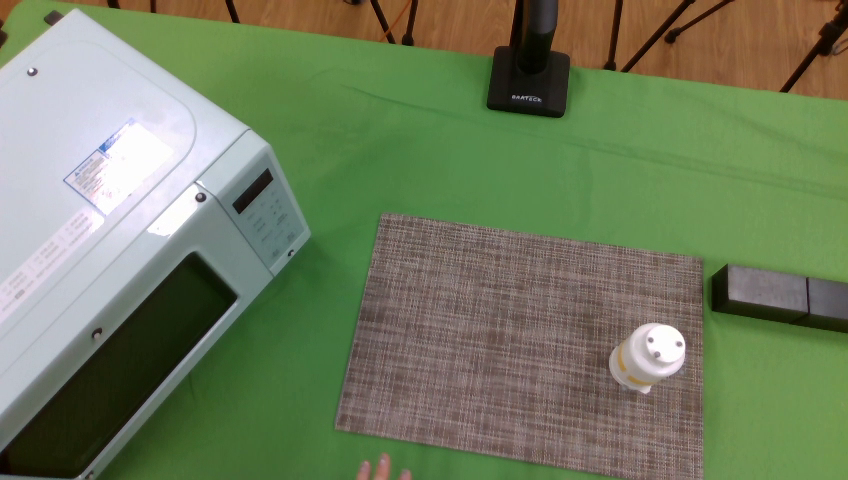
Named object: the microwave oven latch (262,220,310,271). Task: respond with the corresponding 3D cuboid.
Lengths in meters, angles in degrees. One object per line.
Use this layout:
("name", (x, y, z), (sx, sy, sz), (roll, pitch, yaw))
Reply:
("microwave oven latch", (-0.187, 0.002, 0.811), (0.030, 0.030, 0.079), (36, 73, 13))

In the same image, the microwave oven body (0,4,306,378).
("microwave oven body", (-0.413, 0.016, 0.702), (0.324, 0.262, 0.440), (35, 73, 13))

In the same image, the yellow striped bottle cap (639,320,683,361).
("yellow striped bottle cap", (0.265, 0.112, 0.676), (0.044, 0.019, 0.044), (-1, 70, 2))

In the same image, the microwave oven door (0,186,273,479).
("microwave oven door", (-0.321, 0.125, 0.652), (0.039, 0.245, 0.355), (34, 72, 14))

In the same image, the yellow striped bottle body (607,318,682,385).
("yellow striped bottle body", (0.265, 0.133, 0.725), (0.063, 0.121, 0.062), (0, 67, 1))
